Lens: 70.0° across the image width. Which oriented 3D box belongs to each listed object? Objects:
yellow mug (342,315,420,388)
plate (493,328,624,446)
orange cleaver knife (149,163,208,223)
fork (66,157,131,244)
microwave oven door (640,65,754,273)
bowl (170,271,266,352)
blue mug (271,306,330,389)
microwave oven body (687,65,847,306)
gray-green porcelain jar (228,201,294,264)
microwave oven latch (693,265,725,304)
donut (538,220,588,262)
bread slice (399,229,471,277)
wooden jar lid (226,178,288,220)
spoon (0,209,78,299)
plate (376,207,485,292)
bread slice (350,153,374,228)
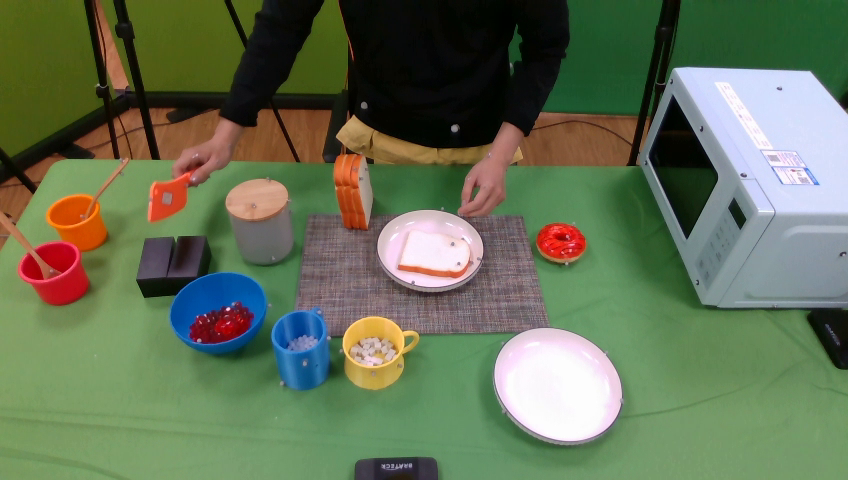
[{"bbox_3d":[-0.068,0.177,0.990,0.131,0.064,0.099,-15,50,-19],"label":"yellow mug"},{"bbox_3d":[0.213,0.236,0.974,0.208,0.039,0.206,2,46,-2],"label":"plate"},{"bbox_3d":[-0.451,-0.090,1.120,0.012,0.077,0.210,8,22,4],"label":"orange cleaver knife"},{"bbox_3d":[-0.608,-0.074,1.132,0.207,0.019,0.028,-52,48,10],"label":"fork"},{"bbox_3d":[0.523,-0.147,1.193,0.039,0.245,0.353,0,47,-3],"label":"microwave oven door"},{"bbox_3d":[-0.333,0.132,1.006,0.151,0.077,0.150,2,46,-2],"label":"bowl"},{"bbox_3d":[-0.188,0.163,0.969,0.082,0.106,0.116,15,47,10],"label":"blue mug"},{"bbox_3d":[0.669,-0.111,1.176,0.326,0.261,0.439,0,46,-3],"label":"microwave oven body"},{"bbox_3d":[-0.299,-0.027,1.126,0.106,0.127,0.105,2,46,-2],"label":"gray-green porcelain jar"},{"bbox_3d":[0.522,0.081,1.115,0.030,0.029,0.078,2,46,-1],"label":"microwave oven latch"},{"bbox_3d":[0.273,0.001,1.198,0.099,0.048,0.098,0,46,0],"label":"donut"},{"bbox_3d":[0.026,0.024,1.161,0.131,0.019,0.104,8,48,8],"label":"bread slice"},{"bbox_3d":[-0.296,-0.070,1.081,0.108,0.021,0.107,1,45,-1],"label":"wooden jar lid"},{"bbox_3d":[-0.668,0.021,1.040,0.041,0.021,0.194,-41,105,-30],"label":"spoon"},{"bbox_3d":[0.012,0.021,1.159,0.209,0.038,0.208,2,47,-2],"label":"plate"},{"bbox_3d":[-0.123,-0.104,1.207,0.018,0.135,0.106,-1,48,7],"label":"bread slice"}]
